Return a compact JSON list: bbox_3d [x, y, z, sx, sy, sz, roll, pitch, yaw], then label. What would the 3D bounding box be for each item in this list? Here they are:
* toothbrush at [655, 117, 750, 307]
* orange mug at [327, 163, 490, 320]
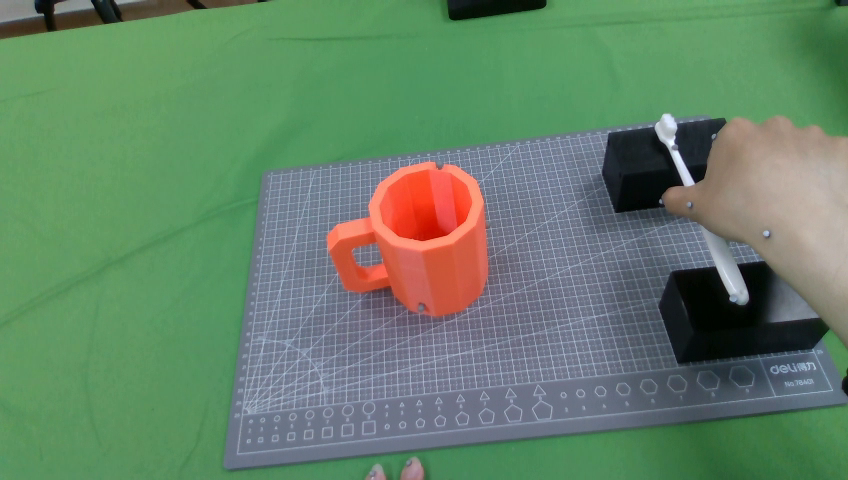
[{"bbox_3d":[0.212,-0.029,0.466,0.014,0.017,0.180,0,54,-9],"label":"toothbrush"},{"bbox_3d":[-0.010,0.006,0.483,0.126,0.102,0.082,-11,53,-5],"label":"orange mug"}]
